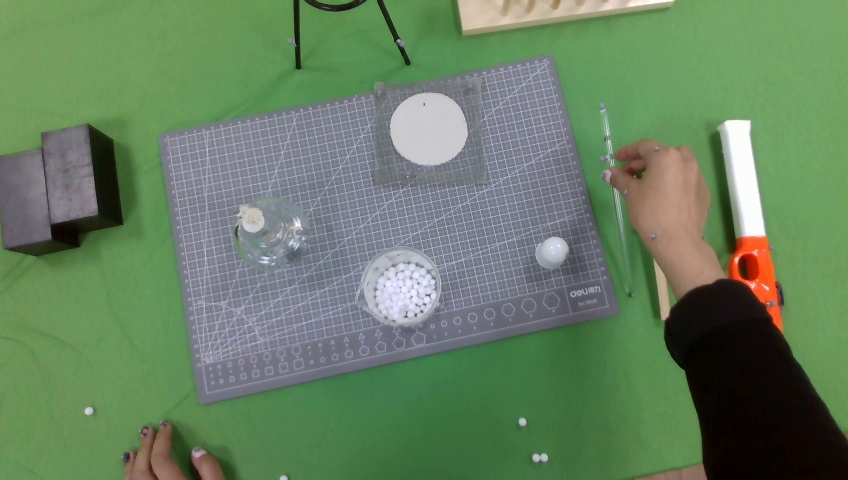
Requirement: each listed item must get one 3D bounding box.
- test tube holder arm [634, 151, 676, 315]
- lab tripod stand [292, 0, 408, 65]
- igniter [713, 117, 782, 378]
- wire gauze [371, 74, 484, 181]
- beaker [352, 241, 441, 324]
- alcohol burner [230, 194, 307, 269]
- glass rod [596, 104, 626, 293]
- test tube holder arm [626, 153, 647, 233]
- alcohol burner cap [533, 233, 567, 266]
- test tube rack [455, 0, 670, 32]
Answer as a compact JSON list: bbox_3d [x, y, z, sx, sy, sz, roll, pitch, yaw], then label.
[{"bbox_3d":[0.245,-0.008,0.646,0.013,0.015,0.177,-16,79,36],"label":"test tube holder arm"},{"bbox_3d":[-0.086,-0.246,0.629,0.148,0.132,0.148,0,83,1],"label":"lab tripod stand"},{"bbox_3d":[0.341,0.004,0.640,0.057,0.025,0.275,-2,82,-10],"label":"igniter"},{"bbox_3d":[0.003,-0.124,0.670,0.125,0.011,0.121,-1,83,0],"label":"wire gauze"},{"bbox_3d":[-0.024,0.048,0.598,0.084,0.100,0.073,-20,81,-2],"label":"beaker"},{"bbox_3d":[-0.159,-0.012,0.601,0.078,0.119,0.077,0,80,3],"label":"alcohol burner"},{"bbox_3d":[0.195,-0.041,0.631,0.008,0.008,0.200,-11,100,-1],"label":"glass rod"},{"bbox_3d":[0.233,-0.051,0.656,0.010,0.015,0.087,-15,80,37],"label":"test tube holder arm"},{"bbox_3d":[0.133,0.008,0.632,0.034,0.048,0.033,0,82,2],"label":"alcohol burner cap"},{"bbox_3d":[0.156,-0.293,0.658,0.242,0.085,0.066,-8,81,-1],"label":"test tube rack"}]
